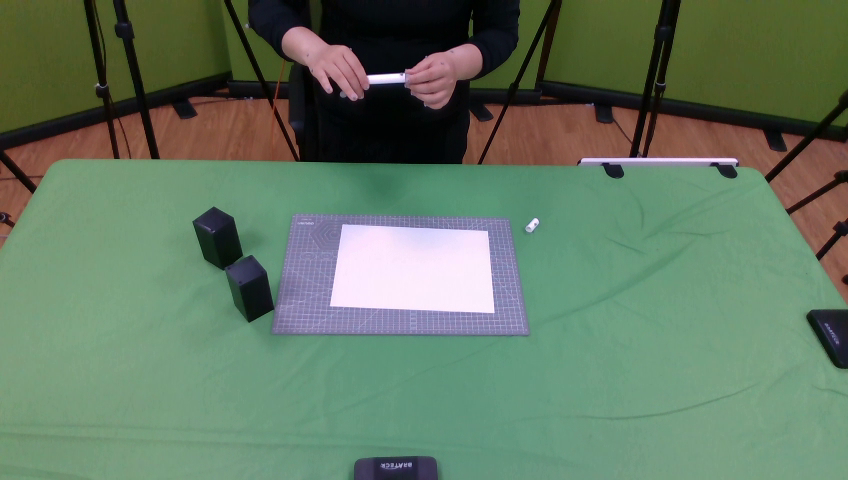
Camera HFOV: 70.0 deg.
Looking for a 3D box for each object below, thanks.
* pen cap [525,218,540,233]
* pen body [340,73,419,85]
[{"bbox_3d":[0.224,-0.031,1.248,0.017,0.017,0.038,30,51,23],"label":"pen cap"},{"bbox_3d":[-0.080,-0.294,1.105,0.144,0.017,0.017,-3,45,4],"label":"pen body"}]
